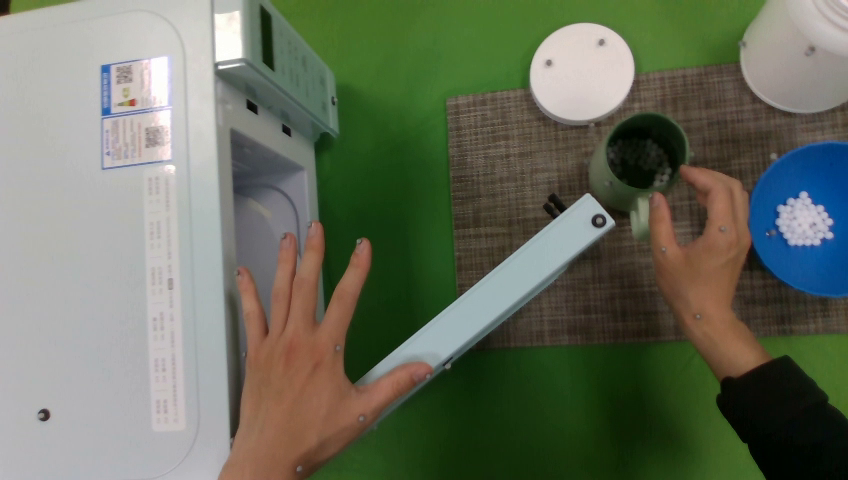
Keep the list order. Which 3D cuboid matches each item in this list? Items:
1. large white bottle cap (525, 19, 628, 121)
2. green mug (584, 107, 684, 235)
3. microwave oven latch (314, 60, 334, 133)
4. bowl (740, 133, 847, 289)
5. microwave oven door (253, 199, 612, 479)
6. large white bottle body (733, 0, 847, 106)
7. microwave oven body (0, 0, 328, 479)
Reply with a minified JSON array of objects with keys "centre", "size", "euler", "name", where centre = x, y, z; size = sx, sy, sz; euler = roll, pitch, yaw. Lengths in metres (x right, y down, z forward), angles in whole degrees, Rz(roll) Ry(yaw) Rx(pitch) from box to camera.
[{"centre":[0.173,-0.193,0.689],"size":[0.114,0.018,0.114],"euler":[-1,85,10],"name":"large white bottle cap"},{"centre":[0.218,-0.068,0.628],"size":[0.092,0.105,0.125],"euler":[-6,85,10],"name":"green mug"},{"centre":[-0.126,-0.169,0.717],"size":[0.030,0.029,0.079],"euler":[-6,86,9],"name":"microwave oven latch"},{"centre":[0.389,-0.025,0.607],"size":[0.151,0.077,0.151],"euler":[-1,86,11],"name":"bowl"},{"centre":[0.017,0.098,0.570],"size":[0.356,0.245,0.039],"euler":[-41,79,5],"name":"microwave oven door"},{"centre":[0.383,-0.219,0.568],"size":[0.130,0.185,0.130],"euler":[-2,81,11],"name":"large white bottle body"},{"centre":[-0.273,0.014,0.633],"size":[0.325,0.261,0.440],"euler":[-6,85,9],"name":"microwave oven body"}]
